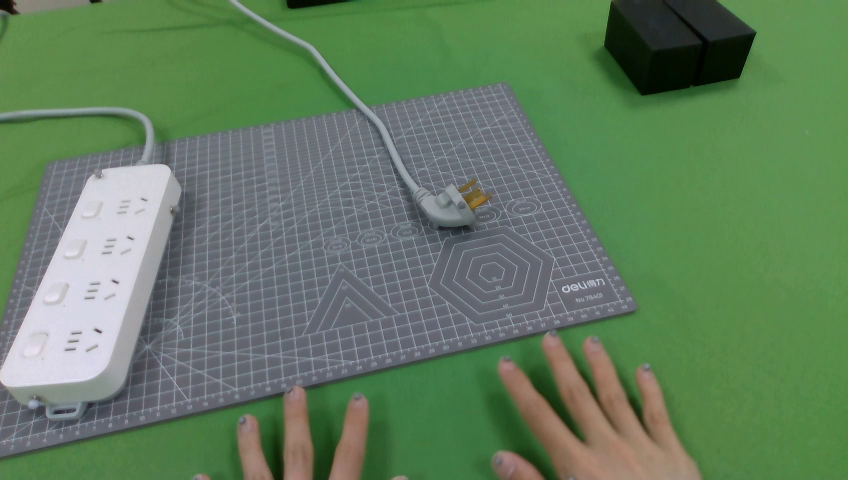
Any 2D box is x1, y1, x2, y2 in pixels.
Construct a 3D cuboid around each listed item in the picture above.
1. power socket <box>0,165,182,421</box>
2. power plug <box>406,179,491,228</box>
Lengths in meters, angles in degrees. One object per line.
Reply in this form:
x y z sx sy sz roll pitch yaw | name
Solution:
-0.238 0.023 0.451 0.072 0.033 0.224 -4 48 -1 | power socket
0.018 -0.041 0.487 0.052 0.035 0.072 -32 64 -2 | power plug
